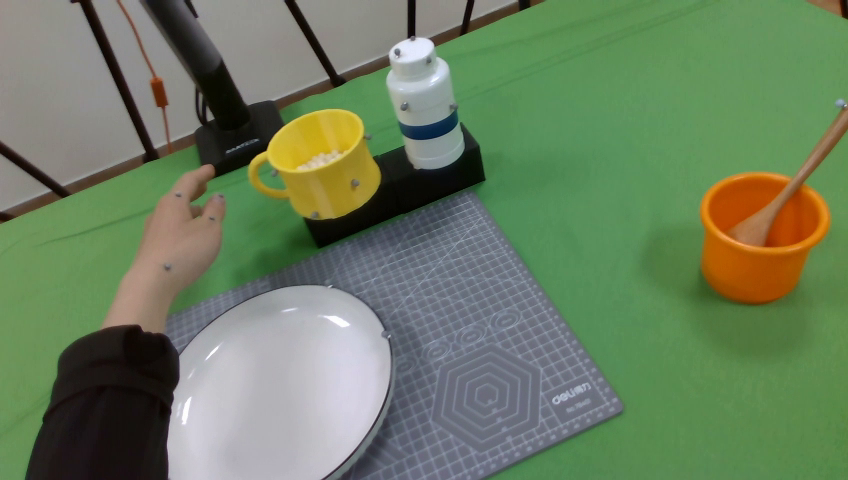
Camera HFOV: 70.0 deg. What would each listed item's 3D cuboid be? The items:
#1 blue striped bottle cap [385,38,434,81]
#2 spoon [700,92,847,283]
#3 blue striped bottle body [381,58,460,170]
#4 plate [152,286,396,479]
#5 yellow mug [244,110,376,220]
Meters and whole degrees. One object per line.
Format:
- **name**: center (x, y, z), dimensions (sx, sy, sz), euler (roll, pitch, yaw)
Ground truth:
- **blue striped bottle cap**: center (-0.014, -0.170, 0.568), dimensions (0.044, 0.021, 0.044), euler (-10, 47, 11)
- **spoon**: center (0.287, -0.047, 0.481), dimensions (0.194, 0.022, 0.041), euler (-57, 42, 17)
- **blue striped bottle body**: center (-0.004, -0.135, 0.604), dimensions (0.063, 0.122, 0.062), euler (-8, 46, 9)
- **plate**: center (-0.122, 0.131, 0.513), dimensions (0.207, 0.039, 0.205), euler (-8, 46, 9)
- **yellow mug**: center (-0.121, -0.074, 0.621), dimensions (0.131, 0.064, 0.099), euler (-14, 45, 4)
